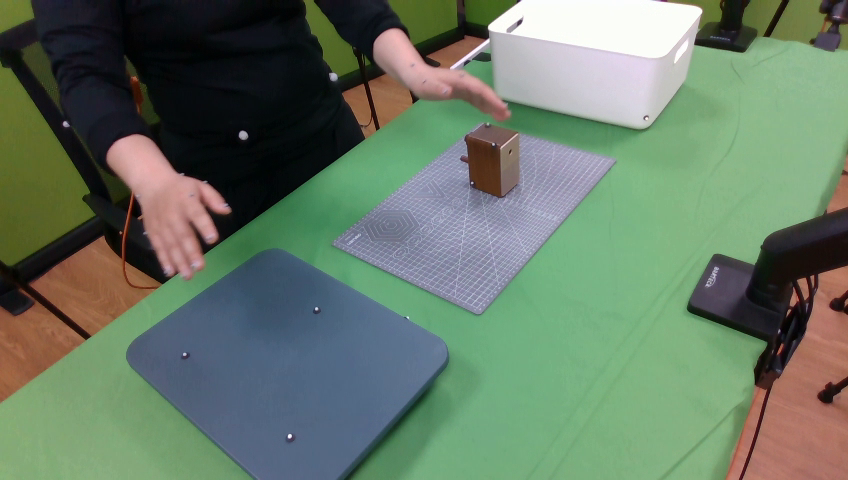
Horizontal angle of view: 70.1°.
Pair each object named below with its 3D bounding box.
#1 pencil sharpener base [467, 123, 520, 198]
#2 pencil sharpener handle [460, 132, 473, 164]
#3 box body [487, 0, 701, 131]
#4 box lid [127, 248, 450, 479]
[{"bbox_3d":[0.119,-0.138,1.044,0.076,0.107,0.061,23,49,32],"label":"pencil sharpener base"},{"bbox_3d":[0.077,-0.163,1.062,0.030,0.068,0.036,23,43,32],"label":"pencil sharpener handle"},{"bbox_3d":[0.345,-0.379,1.257,0.361,0.161,0.255,20,48,29],"label":"box body"},{"bbox_3d":[-0.177,0.145,0.768,0.368,0.015,0.264,24,50,32],"label":"box lid"}]
